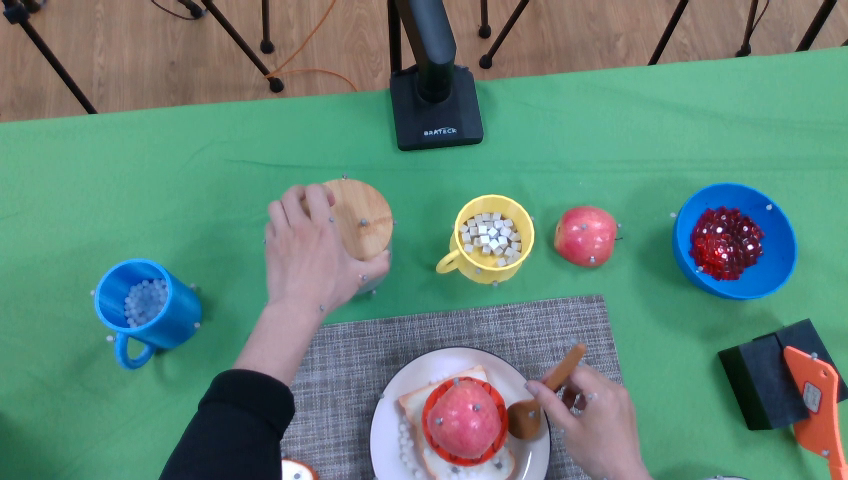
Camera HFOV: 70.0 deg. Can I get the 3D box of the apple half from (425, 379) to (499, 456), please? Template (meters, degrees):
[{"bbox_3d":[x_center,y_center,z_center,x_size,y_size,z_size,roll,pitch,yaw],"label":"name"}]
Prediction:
[{"bbox_3d":[0.043,0.190,0.645,0.081,0.033,0.081,-1,74,3],"label":"apple half"}]

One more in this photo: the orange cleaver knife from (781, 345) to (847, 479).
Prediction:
[{"bbox_3d":[0.459,0.225,0.704,0.012,0.077,0.211,-16,95,-15],"label":"orange cleaver knife"}]

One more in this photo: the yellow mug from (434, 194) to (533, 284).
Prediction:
[{"bbox_3d":[0.069,0.007,0.763,0.131,0.064,0.099,-29,75,-11],"label":"yellow mug"}]

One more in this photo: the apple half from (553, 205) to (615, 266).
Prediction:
[{"bbox_3d":[0.210,-0.011,0.784,0.074,0.053,0.080,15,72,5],"label":"apple half"}]

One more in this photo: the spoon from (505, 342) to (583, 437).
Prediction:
[{"bbox_3d":[0.124,0.160,0.633,0.041,0.195,0.021,43,56,19],"label":"spoon"}]

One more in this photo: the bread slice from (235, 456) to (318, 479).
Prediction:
[{"bbox_3d":[-0.170,0.309,0.672,0.105,0.019,0.130,1,73,-3],"label":"bread slice"}]

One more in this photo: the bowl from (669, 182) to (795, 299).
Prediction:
[{"bbox_3d":[0.376,0.010,0.773,0.151,0.077,0.150,1,72,-2],"label":"bowl"}]

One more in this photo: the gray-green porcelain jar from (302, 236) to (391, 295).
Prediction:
[{"bbox_3d":[-0.092,0.006,0.723,0.106,0.127,0.105,1,71,-3],"label":"gray-green porcelain jar"}]

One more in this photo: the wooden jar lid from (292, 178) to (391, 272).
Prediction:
[{"bbox_3d":[-0.090,-0.015,0.664,0.108,0.021,0.107,0,71,-1],"label":"wooden jar lid"}]

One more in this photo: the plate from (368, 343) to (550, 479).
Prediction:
[{"bbox_3d":[0.039,0.226,0.700,0.208,0.039,0.206,1,72,-3],"label":"plate"}]

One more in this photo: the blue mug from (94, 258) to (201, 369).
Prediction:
[{"bbox_3d":[-0.317,0.090,0.692,0.082,0.106,0.116,14,71,2],"label":"blue mug"}]

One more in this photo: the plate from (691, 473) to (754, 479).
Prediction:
[{"bbox_3d":[0.340,0.369,0.673,0.209,0.038,0.207,1,72,-2],"label":"plate"}]

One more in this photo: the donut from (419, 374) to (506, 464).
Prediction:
[{"bbox_3d":[0.044,0.200,0.679,0.099,0.048,0.098,1,70,-3],"label":"donut"}]

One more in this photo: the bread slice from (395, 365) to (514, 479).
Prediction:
[{"bbox_3d":[0.043,0.225,0.702,0.107,0.018,0.133,-25,75,-7],"label":"bread slice"}]
